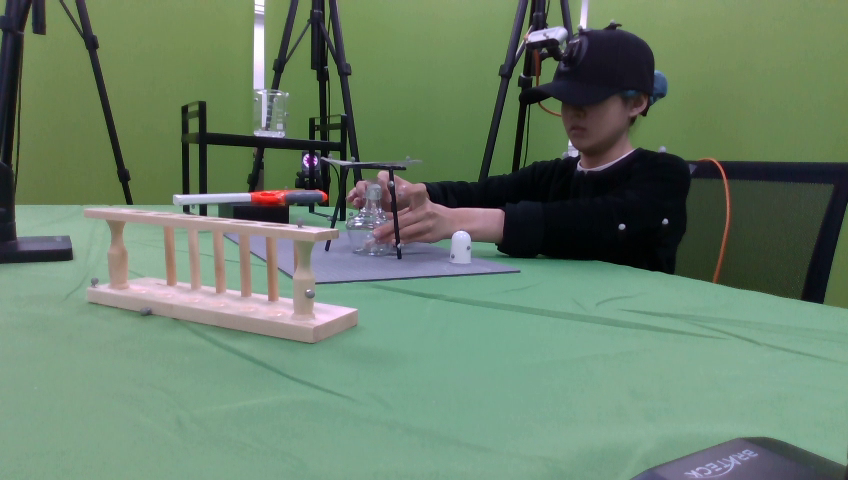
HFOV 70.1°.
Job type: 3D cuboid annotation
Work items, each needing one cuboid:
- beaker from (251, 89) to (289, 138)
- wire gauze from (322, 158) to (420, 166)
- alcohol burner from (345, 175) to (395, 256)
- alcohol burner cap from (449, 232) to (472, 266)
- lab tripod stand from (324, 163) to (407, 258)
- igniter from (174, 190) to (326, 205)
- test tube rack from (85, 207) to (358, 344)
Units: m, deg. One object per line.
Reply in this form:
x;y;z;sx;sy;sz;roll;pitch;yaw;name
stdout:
-0.334;-0.273;1.316;0.084;0.100;0.074;6;8;15;beaker
-0.079;-0.114;0.893;0.122;0.011;0.124;-1;6;-25;wire gauze
-0.076;-0.036;0.891;0.078;0.119;0.078;5;7;0;alcohol burner
0.052;0.012;0.843;0.034;0.048;0.034;2;6;0;alcohol burner cap
-0.073;-0.047;0.900;0.148;0.131;0.148;2;5;0;lab tripod stand
-0.317;-0.079;1.132;0.278;0.025;0.057;-4;12;-32;igniter
-0.177;0.022;0.518;0.241;0.085;0.067;6;7;23;test tube rack
